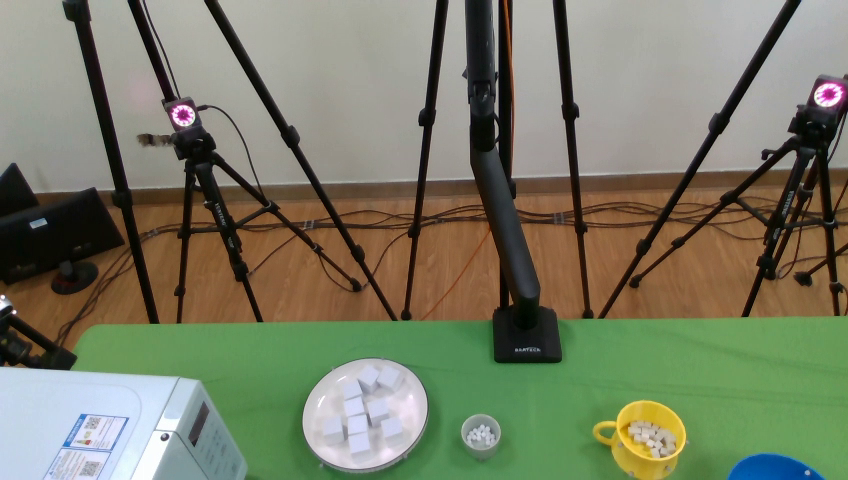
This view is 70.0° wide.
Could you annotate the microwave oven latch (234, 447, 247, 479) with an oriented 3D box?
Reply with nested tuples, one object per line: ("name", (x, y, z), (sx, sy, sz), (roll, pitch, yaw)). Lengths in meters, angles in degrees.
("microwave oven latch", (-0.293, 0.355, 0.917), (0.030, 0.030, 0.078), (3, 45, 8))

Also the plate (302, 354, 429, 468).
("plate", (-0.095, 0.282, 1.002), (0.207, 0.039, 0.205), (-3, 43, 3))

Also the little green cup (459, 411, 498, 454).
("little green cup", (0.087, 0.306, 0.959), (0.061, 0.039, 0.061), (-3, 43, 3))

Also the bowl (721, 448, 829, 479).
("bowl", (0.474, 0.370, 0.823), (0.151, 0.077, 0.150), (-3, 44, 3))

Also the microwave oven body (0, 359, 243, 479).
("microwave oven body", (-0.467, 0.403, 0.742), (0.325, 0.263, 0.437), (2, 44, 7))

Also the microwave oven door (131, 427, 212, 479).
("microwave oven door", (-0.327, 0.431, 0.690), (0.039, 0.246, 0.352), (1, 44, 7))

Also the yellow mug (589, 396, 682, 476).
("yellow mug", (0.320, 0.295, 0.926), (0.130, 0.064, 0.099), (6, 44, 13))
